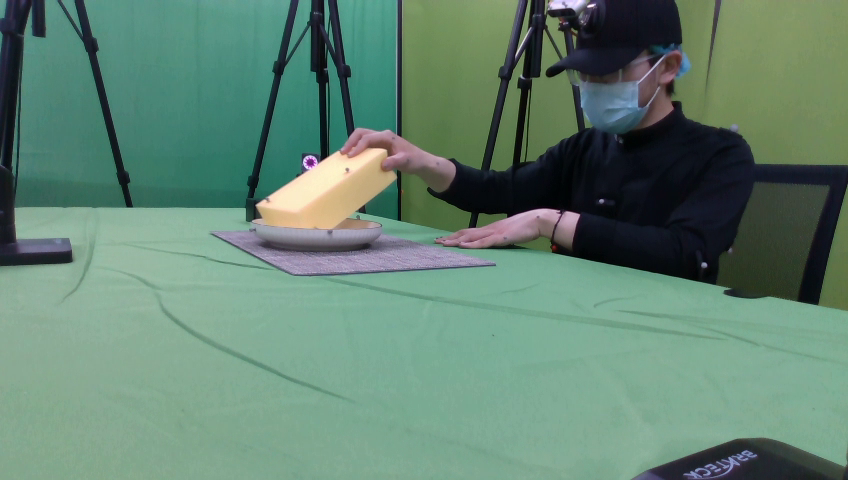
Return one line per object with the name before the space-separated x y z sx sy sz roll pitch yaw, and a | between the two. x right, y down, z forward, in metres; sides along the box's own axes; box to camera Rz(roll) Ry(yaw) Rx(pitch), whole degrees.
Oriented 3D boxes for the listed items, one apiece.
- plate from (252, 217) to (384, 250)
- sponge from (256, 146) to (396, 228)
plate | -0.169 -0.012 0.976 0.208 0.039 0.207 2 7 0
sponge | -0.161 -0.082 1.011 0.117 0.061 0.207 9 40 43
